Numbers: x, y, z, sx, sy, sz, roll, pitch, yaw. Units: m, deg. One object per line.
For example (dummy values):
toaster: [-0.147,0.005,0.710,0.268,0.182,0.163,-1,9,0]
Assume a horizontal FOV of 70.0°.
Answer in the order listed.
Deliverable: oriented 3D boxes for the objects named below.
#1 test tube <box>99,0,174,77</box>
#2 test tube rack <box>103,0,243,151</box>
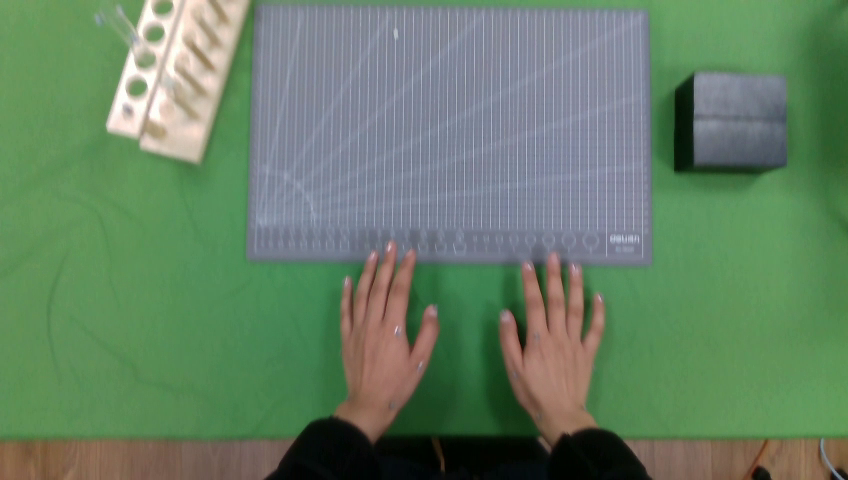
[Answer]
test tube: [-0.276,-0.198,0.588,0.017,0.150,0.017,0,78,-2]
test tube rack: [-0.251,-0.226,0.640,0.067,0.085,0.242,15,87,0]
